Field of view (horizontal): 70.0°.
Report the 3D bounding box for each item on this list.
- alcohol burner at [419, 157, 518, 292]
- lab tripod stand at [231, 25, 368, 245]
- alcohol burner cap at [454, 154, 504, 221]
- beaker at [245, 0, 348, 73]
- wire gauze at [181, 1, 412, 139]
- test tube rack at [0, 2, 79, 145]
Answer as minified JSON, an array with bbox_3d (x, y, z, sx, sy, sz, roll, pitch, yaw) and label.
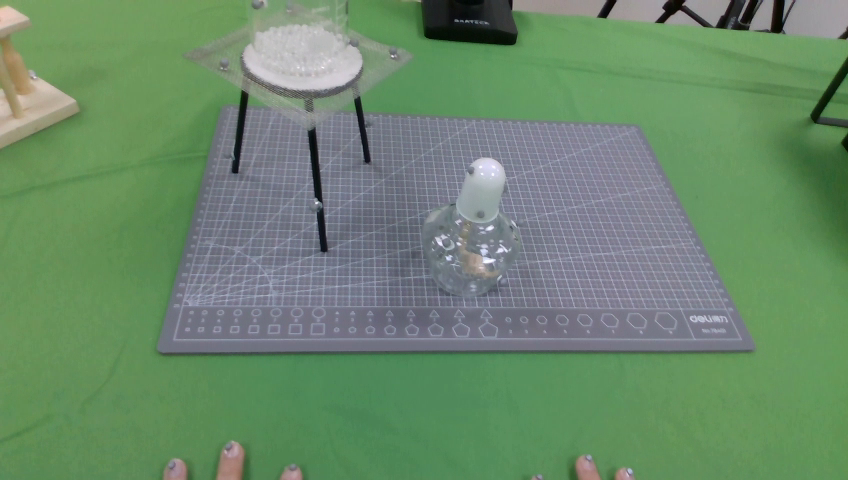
[{"bbox_3d":[0.037,-0.016,0.459,0.078,0.120,0.077,6,45,-5],"label":"alcohol burner"},{"bbox_3d":[-0.096,-0.091,0.495,0.148,0.132,0.147,6,47,-6],"label":"lab tripod stand"},{"bbox_3d":[0.041,-0.039,0.432,0.034,0.048,0.033,4,51,-5],"label":"alcohol burner cap"},{"bbox_3d":[-0.089,-0.174,0.416,0.073,0.101,0.084,38,54,23],"label":"beaker"},{"bbox_3d":[-0.091,-0.135,0.448,0.124,0.011,0.121,33,53,16],"label":"wire gauze"},{"bbox_3d":[-0.425,-0.105,0.494,0.066,0.086,0.242,30,50,19],"label":"test tube rack"}]
